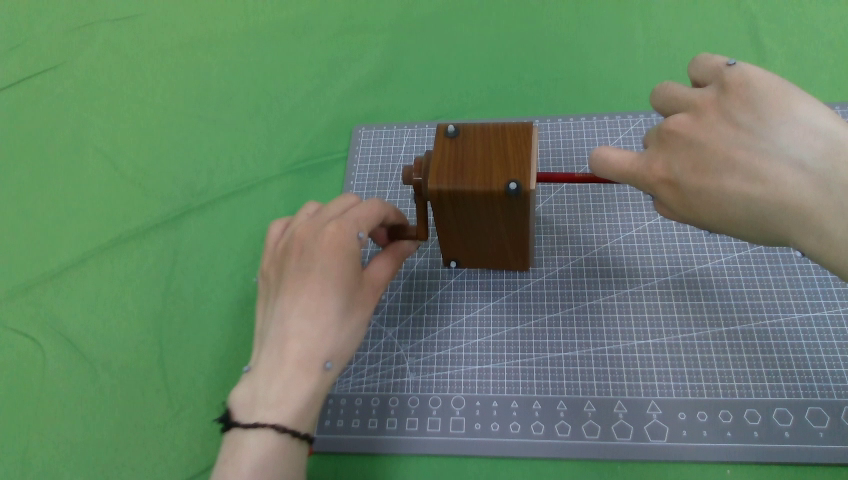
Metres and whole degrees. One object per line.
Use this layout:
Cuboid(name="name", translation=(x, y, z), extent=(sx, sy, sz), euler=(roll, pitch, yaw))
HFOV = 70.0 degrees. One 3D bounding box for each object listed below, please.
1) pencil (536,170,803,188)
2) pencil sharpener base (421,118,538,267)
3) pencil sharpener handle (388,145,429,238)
Cuboid(name="pencil", translation=(0.146, -0.042, 0.400), extent=(0.194, 0.012, 0.012), euler=(2, 58, 8))
Cuboid(name="pencil sharpener base", translation=(0.042, -0.031, 0.439), extent=(0.076, 0.108, 0.061), euler=(2, 58, 10))
Cuboid(name="pencil sharpener handle", translation=(-0.011, -0.033, 0.430), extent=(0.030, 0.068, 0.036), euler=(2, 23, 10))
